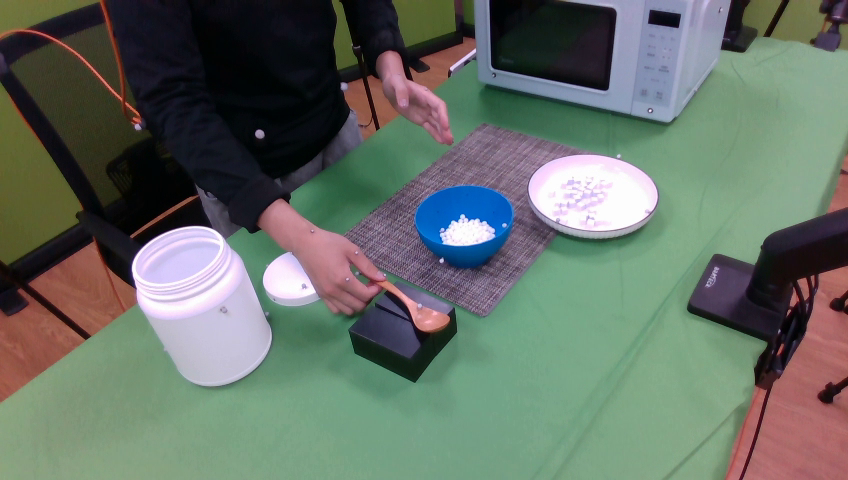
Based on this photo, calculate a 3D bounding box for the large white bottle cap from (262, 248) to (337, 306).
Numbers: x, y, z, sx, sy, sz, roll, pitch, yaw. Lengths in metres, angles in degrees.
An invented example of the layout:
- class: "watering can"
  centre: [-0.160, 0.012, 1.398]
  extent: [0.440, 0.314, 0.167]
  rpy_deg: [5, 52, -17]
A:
- class: "large white bottle cap"
  centre: [-0.193, 0.056, 0.934]
  extent: [0.115, 0.018, 0.114]
  rpy_deg: [-5, 41, 5]

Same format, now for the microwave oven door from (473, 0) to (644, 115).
- class: "microwave oven door"
  centre: [0.257, -0.396, 1.199]
  extent: [0.353, 0.245, 0.039]
  rpy_deg: [21, 48, 29]

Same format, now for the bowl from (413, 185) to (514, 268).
- class: "bowl"
  centre: [0.063, -0.010, 0.922]
  extent: [0.151, 0.077, 0.150]
  rpy_deg: [-4, 40, 4]

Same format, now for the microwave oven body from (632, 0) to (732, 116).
- class: "microwave oven body"
  centre: [0.377, -0.463, 1.267]
  extent: [0.438, 0.261, 0.327]
  rpy_deg: [21, 49, 30]

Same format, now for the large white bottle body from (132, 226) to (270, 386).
- class: "large white bottle body"
  centre: [-0.286, 0.085, 0.784]
  extent: [0.130, 0.185, 0.130]
  rpy_deg: [-4, 41, 4]

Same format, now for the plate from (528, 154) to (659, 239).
- class: "plate"
  centre: [0.274, -0.069, 0.993]
  extent: [0.209, 0.038, 0.208]
  rpy_deg: [-2, 42, 2]

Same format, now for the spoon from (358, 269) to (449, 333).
- class: "spoon"
  centre: [-0.034, 0.076, 0.814]
  extent: [0.042, 0.022, 0.192]
  rpy_deg: [-28, 40, -26]

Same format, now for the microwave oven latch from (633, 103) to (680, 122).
- class: "microwave oven latch"
  centre: [0.444, -0.249, 1.157]
  extent: [0.078, 0.029, 0.030]
  rpy_deg: [21, 49, 30]
